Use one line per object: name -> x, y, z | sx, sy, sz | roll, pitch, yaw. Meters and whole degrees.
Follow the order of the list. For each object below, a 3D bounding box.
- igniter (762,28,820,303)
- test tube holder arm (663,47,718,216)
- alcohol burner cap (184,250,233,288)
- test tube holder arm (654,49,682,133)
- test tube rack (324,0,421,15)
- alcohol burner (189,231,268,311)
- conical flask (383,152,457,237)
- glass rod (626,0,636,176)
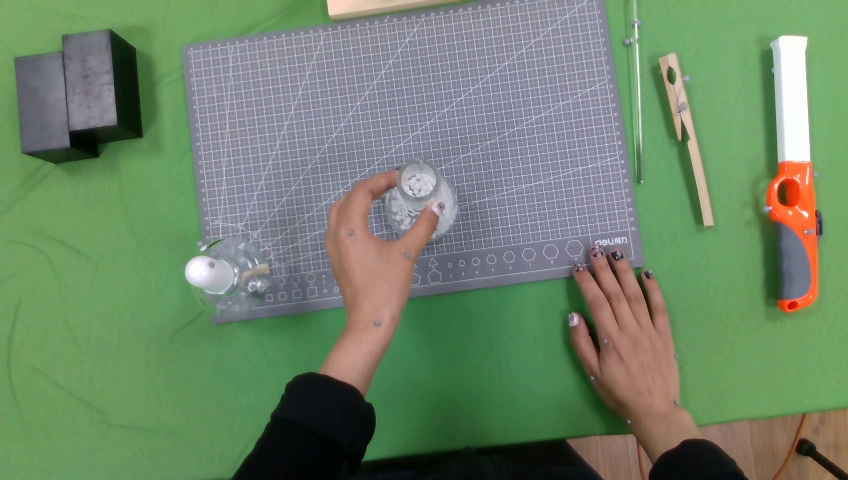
igniter -> 0.367, -0.076, 0.609 | 0.057, 0.025, 0.276 | 0, 87, -8
test tube holder arm -> 0.270, -0.110, 0.616 | 0.013, 0.015, 0.178 | -18, 85, 38
alcohol burner cap -> -0.196, 0.024, 0.542 | 0.034, 0.048, 0.033 | -1, 78, 4
test tube holder arm -> 0.254, -0.153, 0.623 | 0.010, 0.015, 0.087 | -17, 86, 38
test tube rack -> 0.010, -0.294, 0.605 | 0.242, 0.085, 0.066 | -9, 86, 2
alcohol burner -> -0.193, 0.029, 0.577 | 0.078, 0.119, 0.077 | 0, 85, 4
conical flask -> -0.005, -0.047, 0.563 | 0.075, 0.122, 0.075 | 0, 83, 1
glass rod -> 0.215, -0.165, 0.628 | 0.008, 0.008, 0.199 | -1, 89, 2
